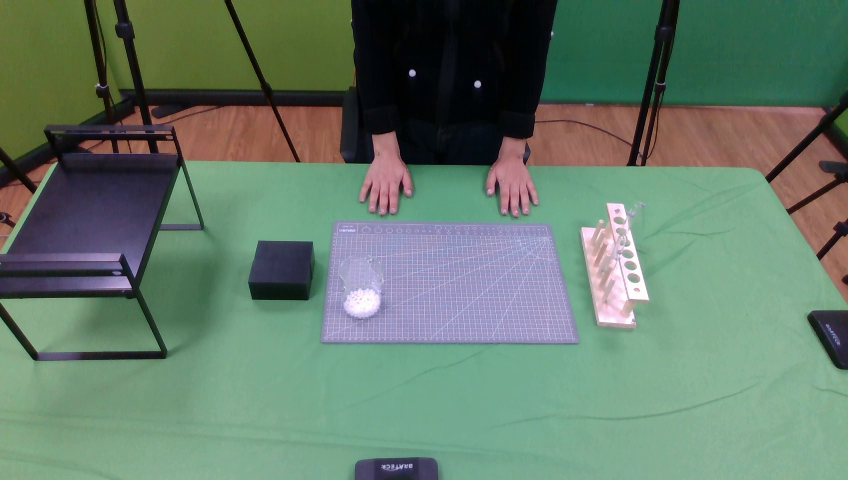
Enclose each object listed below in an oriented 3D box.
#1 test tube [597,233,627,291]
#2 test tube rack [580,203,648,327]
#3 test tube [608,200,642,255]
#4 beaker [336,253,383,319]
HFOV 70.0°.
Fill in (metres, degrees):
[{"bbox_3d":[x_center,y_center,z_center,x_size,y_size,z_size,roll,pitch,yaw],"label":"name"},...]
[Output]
[{"bbox_3d":[0.334,0.041,1.079,0.017,0.151,0.017,2,48,-2],"label":"test tube"},{"bbox_3d":[0.352,0.040,1.143,0.067,0.085,0.241,4,46,0],"label":"test tube rack"},{"bbox_3d":[0.374,-0.020,1.134,0.017,0.151,0.017,3,51,-3],"label":"test tube"},{"bbox_3d":[-0.108,0.084,1.052,0.084,0.101,0.074,25,50,17],"label":"beaker"}]
